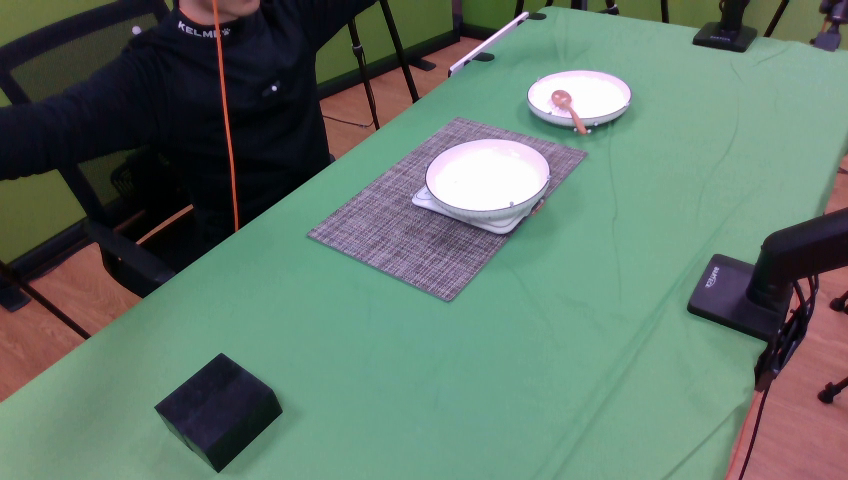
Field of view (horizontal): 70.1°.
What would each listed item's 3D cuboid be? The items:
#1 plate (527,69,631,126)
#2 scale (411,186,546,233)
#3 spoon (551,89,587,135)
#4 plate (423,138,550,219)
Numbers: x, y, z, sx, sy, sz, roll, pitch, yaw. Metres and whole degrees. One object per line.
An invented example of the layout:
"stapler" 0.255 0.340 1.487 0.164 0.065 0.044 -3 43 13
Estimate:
"plate" 0.317 -0.289 1.246 0.209 0.038 0.208 -4 41 4
"scale" 0.092 -0.083 1.039 0.199 0.032 0.149 22 48 30
"spoon" 0.286 -0.253 1.184 0.041 0.022 0.192 -7 33 1
"plate" 0.104 -0.099 1.005 0.207 0.039 0.206 -4 41 4
